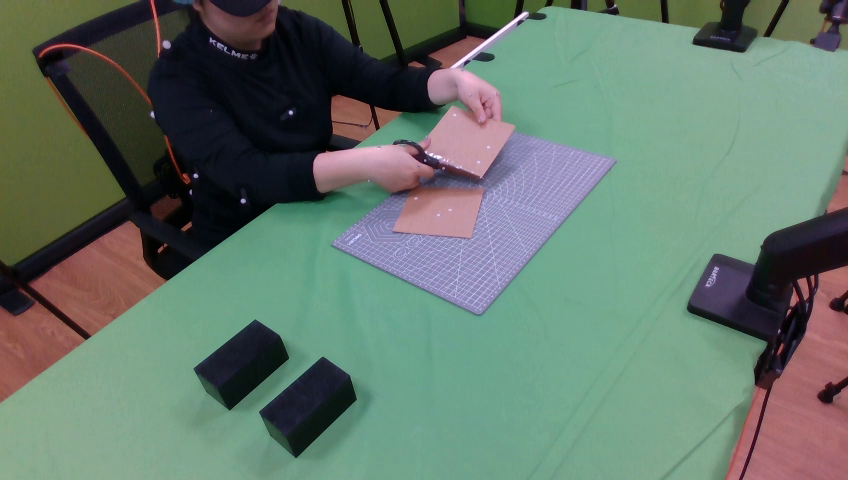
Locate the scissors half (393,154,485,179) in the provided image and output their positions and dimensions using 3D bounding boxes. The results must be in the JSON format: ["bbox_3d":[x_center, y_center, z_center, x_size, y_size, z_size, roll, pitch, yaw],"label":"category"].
[{"bbox_3d":[0.025,-0.126,1.078,0.174,0.040,0.013,12,55,20],"label":"scissors half"}]

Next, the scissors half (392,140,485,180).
[{"bbox_3d":[0.025,-0.138,1.061,0.175,0.040,0.013,22,62,3],"label":"scissors half"}]

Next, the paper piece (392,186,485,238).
[{"bbox_3d":[0.027,-0.051,1.033,0.135,0.004,0.135,4,42,14],"label":"paper piece"}]

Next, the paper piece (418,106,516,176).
[{"bbox_3d":[0.077,-0.183,1.101,0.135,0.009,0.138,26,59,17],"label":"paper piece"}]
